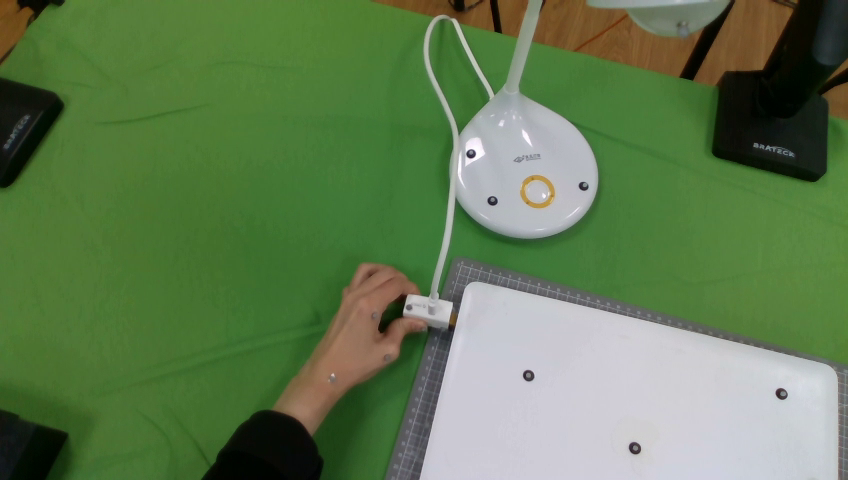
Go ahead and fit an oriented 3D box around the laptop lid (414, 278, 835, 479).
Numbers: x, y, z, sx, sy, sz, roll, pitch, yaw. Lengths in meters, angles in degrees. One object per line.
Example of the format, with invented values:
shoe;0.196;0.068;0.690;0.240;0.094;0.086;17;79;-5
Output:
laptop lid;0.180;0.178;0.530;0.356;0.013;0.240;15;69;5

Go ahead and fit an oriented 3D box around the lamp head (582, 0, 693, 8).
lamp head;0.133;-0.188;0.309;0.112;0.111;0.123;-13;111;-7

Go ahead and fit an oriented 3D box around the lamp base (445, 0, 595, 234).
lamp base;0.099;-0.122;0.584;0.161;0.181;0.177;-21;65;-11

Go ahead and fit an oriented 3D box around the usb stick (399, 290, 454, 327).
usb stick;0.007;0.066;0.572;0.059;0.027;0.021;13;63;0

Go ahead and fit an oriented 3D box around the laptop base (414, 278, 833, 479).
laptop base;0.180;0.181;0.541;0.354;0.023;0.234;13;70;4
